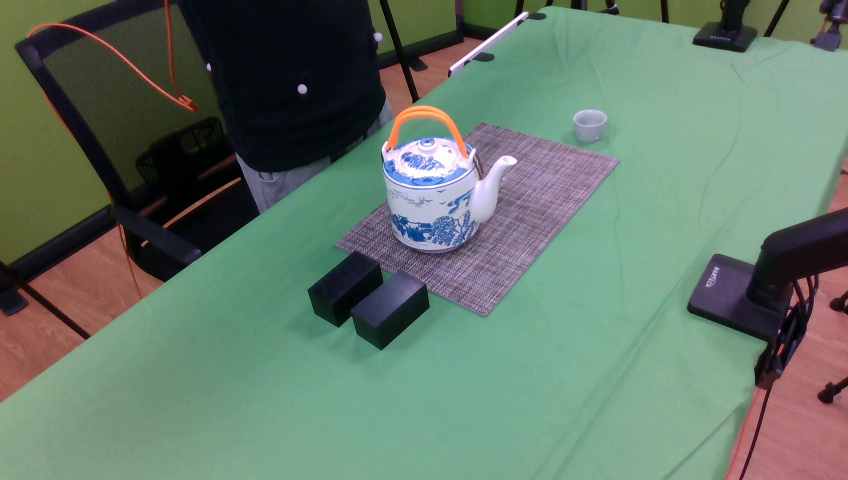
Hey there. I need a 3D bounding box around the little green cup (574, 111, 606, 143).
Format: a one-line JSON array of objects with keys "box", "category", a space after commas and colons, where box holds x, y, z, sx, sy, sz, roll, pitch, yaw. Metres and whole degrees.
[{"box": [0.318, -0.217, 1.164, 0.061, 0.039, 0.061, -3, 41, 3], "category": "little green cup"}]

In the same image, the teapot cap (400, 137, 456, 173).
[{"box": [0.006, -0.127, 0.893, 0.085, 0.044, 0.084, -3, 43, 3], "category": "teapot cap"}]

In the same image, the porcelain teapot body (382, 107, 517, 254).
[{"box": [0.039, -0.095, 0.912, 0.205, 0.226, 0.145, 6, 42, 14], "category": "porcelain teapot body"}]
